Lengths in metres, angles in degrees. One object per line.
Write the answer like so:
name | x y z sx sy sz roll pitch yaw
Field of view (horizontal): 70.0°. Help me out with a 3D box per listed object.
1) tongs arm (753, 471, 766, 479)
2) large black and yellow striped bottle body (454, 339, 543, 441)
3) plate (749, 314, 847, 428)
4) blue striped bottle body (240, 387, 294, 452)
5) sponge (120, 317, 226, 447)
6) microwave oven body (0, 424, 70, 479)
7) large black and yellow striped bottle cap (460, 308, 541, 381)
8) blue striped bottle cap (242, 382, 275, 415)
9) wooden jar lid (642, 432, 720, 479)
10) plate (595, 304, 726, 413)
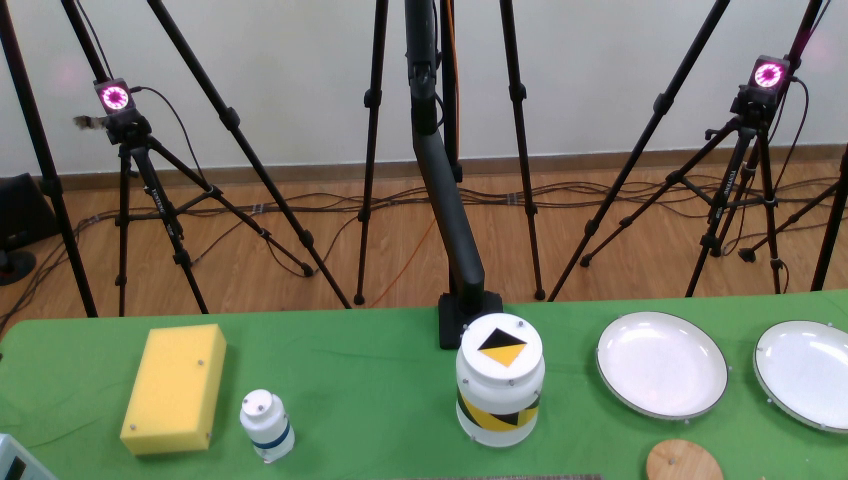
tongs arm | 0.490 0.463 0.702 0.051 0.027 0.381 -5 58 -7
large black and yellow striped bottle body | 0.110 0.205 0.919 0.131 0.186 0.129 -1 45 2
plate | 0.639 0.213 0.987 0.209 0.038 0.207 -1 45 2
blue striped bottle body | -0.239 0.267 0.919 0.063 0.122 0.062 -1 46 2
sponge | -0.409 0.230 1.003 0.118 0.061 0.204 -5 46 -3
microwave oven body | -0.643 0.455 0.650 0.326 0.262 0.437 -1 46 1
large black and yellow striped bottle cap | 0.108 0.146 0.859 0.115 0.019 0.114 -1 47 2
blue striped bottle cap | -0.242 0.230 0.883 0.044 0.021 0.044 -1 47 2
wooden jar lid | 0.377 0.337 0.892 0.108 0.021 0.107 -1 47 2
plate | 0.390 0.199 1.015 0.207 0.039 0.205 -1 46 2
